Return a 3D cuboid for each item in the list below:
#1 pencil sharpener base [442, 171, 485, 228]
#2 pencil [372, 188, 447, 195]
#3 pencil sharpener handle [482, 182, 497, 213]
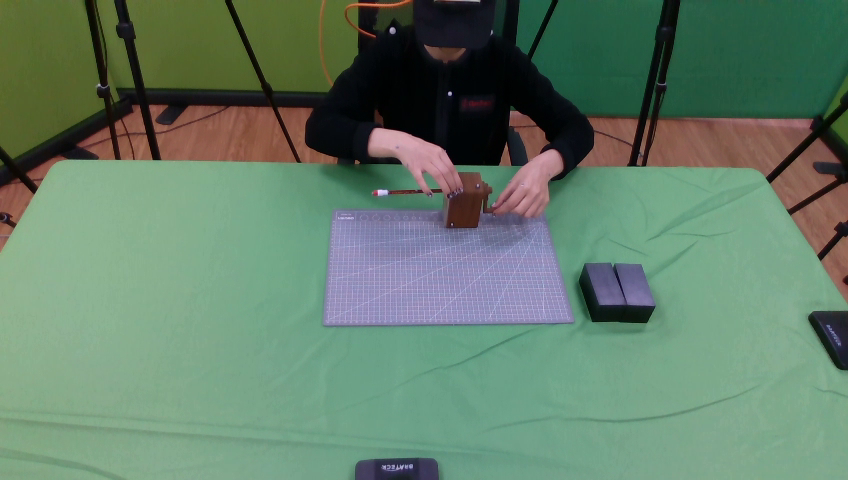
[{"bbox_3d":[0.080,-0.081,1.219,0.077,0.107,0.061,-1,46,-5],"label":"pencil sharpener base"},{"bbox_3d":[-0.005,-0.097,1.194,0.194,0.012,0.012,-2,46,-4],"label":"pencil"},{"bbox_3d":[0.132,-0.086,1.210,0.031,0.068,0.036,-1,24,-5],"label":"pencil sharpener handle"}]
